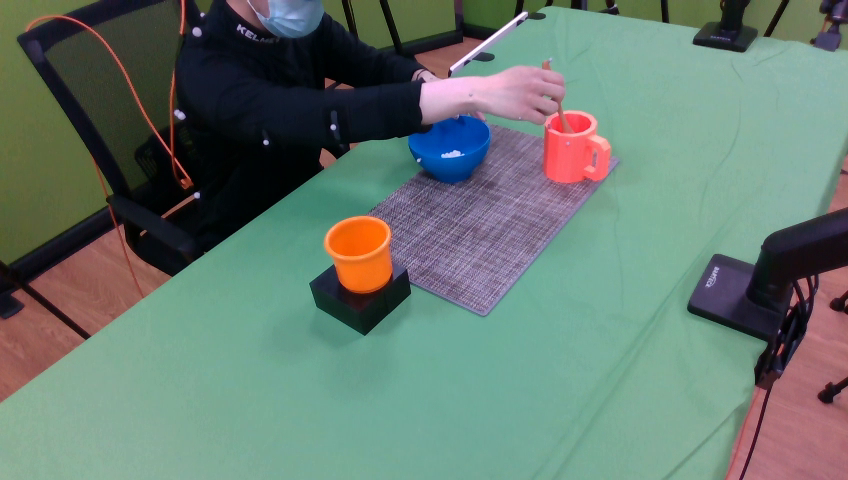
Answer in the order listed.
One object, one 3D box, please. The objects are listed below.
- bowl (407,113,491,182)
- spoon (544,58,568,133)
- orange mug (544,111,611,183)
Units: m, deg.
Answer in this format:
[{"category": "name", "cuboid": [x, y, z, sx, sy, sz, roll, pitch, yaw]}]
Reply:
[{"category": "bowl", "cuboid": [0.048, -0.158, 1.097, 0.151, 0.077, 0.150, -4, 41, 4]}, {"category": "spoon", "cuboid": [0.228, -0.213, 1.011, 0.022, 0.194, 0.041, -24, 27, -9]}, {"category": "orange mug", "cuboid": [0.266, -0.157, 1.049, 0.084, 0.101, 0.125, -33, 41, -27]}]
